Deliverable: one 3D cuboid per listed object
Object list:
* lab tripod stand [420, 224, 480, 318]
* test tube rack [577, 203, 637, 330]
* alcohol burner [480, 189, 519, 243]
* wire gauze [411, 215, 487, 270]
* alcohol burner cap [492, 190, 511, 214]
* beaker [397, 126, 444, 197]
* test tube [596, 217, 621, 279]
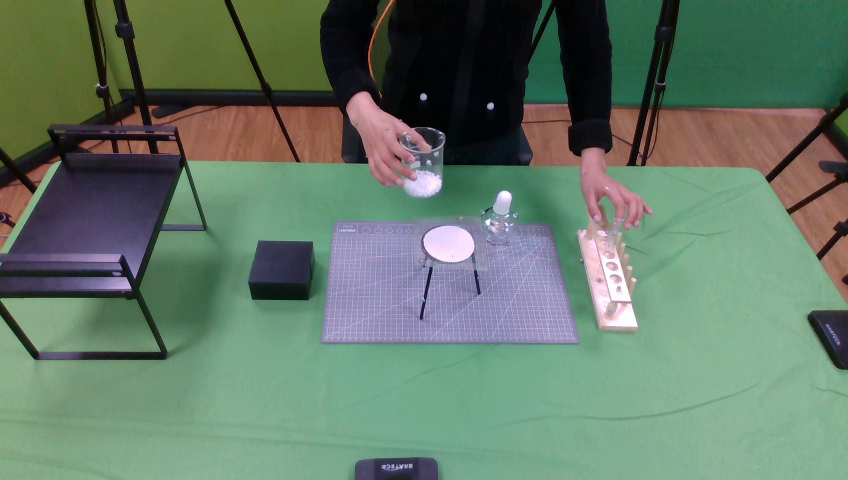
[{"bbox_3d":[0.034,0.051,1.071,0.148,0.132,0.147,3,48,-3],"label":"lab tripod stand"},{"bbox_3d":[0.349,0.045,1.139,0.067,0.085,0.241,2,46,-2],"label":"test tube rack"},{"bbox_3d":[0.150,-0.051,1.191,0.078,0.120,0.077,1,47,-1],"label":"alcohol burner"},{"bbox_3d":[0.041,0.002,1.026,0.125,0.011,0.120,1,46,-3],"label":"wire gauze"},{"bbox_3d":[0.151,-0.076,1.165,0.034,0.048,0.033,5,49,-6],"label":"alcohol burner cap"},{"bbox_3d":[-0.003,-0.130,1.018,0.084,0.101,0.073,-26,49,-25],"label":"beaker"},{"bbox_3d":[0.331,0.018,1.094,0.017,0.151,0.017,0,45,0],"label":"test tube"}]
